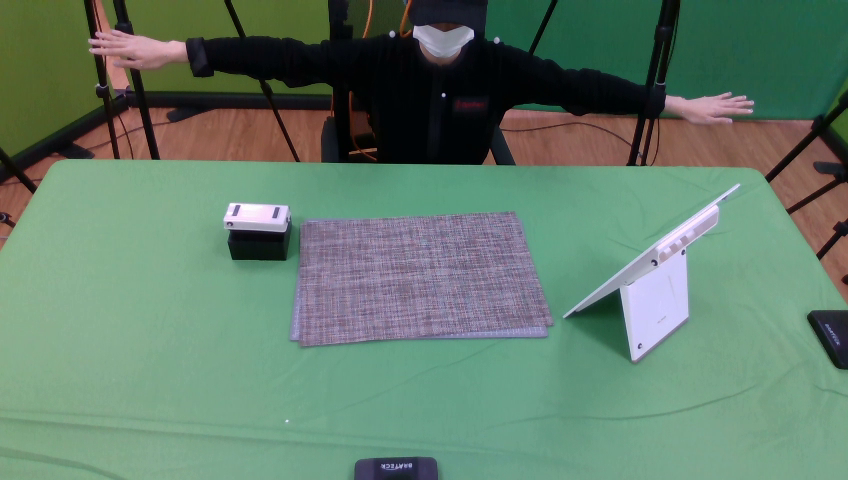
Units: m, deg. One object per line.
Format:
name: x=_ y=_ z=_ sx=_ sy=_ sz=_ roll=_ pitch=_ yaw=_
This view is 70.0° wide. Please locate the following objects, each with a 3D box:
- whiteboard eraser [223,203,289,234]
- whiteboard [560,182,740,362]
whiteboard eraser: x=-0.311 y=-0.039 z=1.127 sx=0.113 sy=0.042 sz=0.055 roll=3 pitch=47 yaw=-2
whiteboard: x=0.406 y=0.075 z=1.001 sx=0.217 sy=0.306 sz=0.143 roll=-28 pitch=73 yaw=-28
